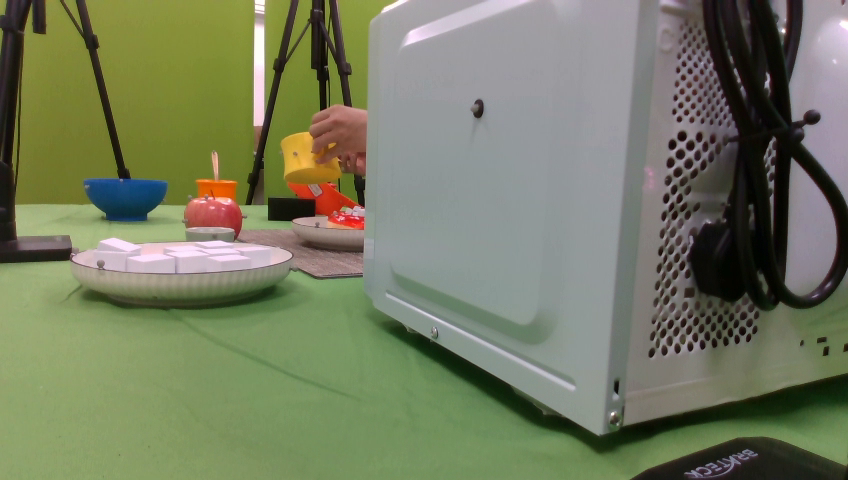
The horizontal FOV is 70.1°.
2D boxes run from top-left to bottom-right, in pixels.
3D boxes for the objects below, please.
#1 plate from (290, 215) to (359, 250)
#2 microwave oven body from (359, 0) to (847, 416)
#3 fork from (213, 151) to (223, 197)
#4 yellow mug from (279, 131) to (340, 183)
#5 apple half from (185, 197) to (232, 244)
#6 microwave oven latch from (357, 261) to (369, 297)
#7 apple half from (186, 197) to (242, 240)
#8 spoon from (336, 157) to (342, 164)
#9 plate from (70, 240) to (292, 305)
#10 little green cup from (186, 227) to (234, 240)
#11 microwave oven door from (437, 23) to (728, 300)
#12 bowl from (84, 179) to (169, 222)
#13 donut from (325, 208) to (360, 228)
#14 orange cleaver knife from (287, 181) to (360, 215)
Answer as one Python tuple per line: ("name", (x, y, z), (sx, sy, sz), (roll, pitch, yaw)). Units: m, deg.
("plate", (-0.110, -0.014, 0.973), (0.209, 0.038, 0.209), (3, 8, 0))
("microwave oven body", (0.211, -0.047, 0.474), (0.444, 0.260, 0.324), (-1, 7, -28))
("fork", (-0.494, -0.143, 1.442), (0.028, 0.018, 0.206), (-2, 52, -20))
("yellow mug", (-0.194, -0.148, 1.054), (0.100, 0.064, 0.130), (-2, -10, -30))
("apple half", (-0.337, -0.031, 0.928), (0.032, 0.081, 0.082), (13, 12, 37))
("microwave oven latch", (-0.019, 0.033, 0.530), (0.079, 0.029, 0.030), (-1, 7, -26))
("apple half", (-0.306, -0.026, 0.905), (0.053, 0.074, 0.081), (14, 9, 37))
("spoon", (-0.188, -0.179, 1.224), (0.042, 0.021, 0.193), (-1, 23, -8))
("plate", (-0.242, 0.031, 0.618), (0.208, 0.039, 0.207), (2, 8, 0))
("little green cup", (-0.285, 0.005, 0.805), (0.061, 0.038, 0.061), (2, 8, 0))
("microwave oven door", (0.181, -0.072, 0.621), (0.358, 0.243, 0.039), (-2, 8, -29))
("bowl", (-0.584, -0.078, 1.194), (0.151, 0.077, 0.151), (3, 8, 0))
("donut", (-0.110, -0.025, 0.974), (0.099, 0.048, 0.099), (5, 8, 0))
("orange cleaver knife", (-0.211, -0.092, 1.382), (0.212, 0.077, 0.012), (34, 2, -15))
